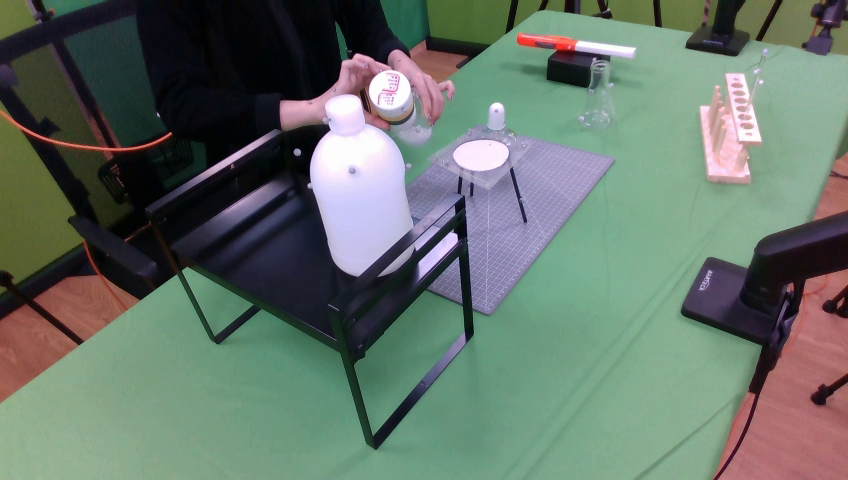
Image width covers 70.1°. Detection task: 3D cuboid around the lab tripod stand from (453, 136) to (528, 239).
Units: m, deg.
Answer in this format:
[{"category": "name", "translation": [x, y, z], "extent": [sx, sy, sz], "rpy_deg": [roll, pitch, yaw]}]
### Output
[{"category": "lab tripod stand", "translation": [0.095, -0.086, 0.974], "extent": [0.148, 0.132, 0.147], "rpy_deg": [-4, 43, 4]}]

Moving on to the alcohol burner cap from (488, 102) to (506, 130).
[{"category": "alcohol burner cap", "translation": [0.133, -0.227, 1.092], "extent": [0.034, 0.048, 0.033], "rpy_deg": [-1, 47, 2]}]

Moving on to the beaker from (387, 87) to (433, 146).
[{"category": "beaker", "translation": [-0.026, -0.212, 1.052], "extent": [0.073, 0.101, 0.084], "rpy_deg": [32, 89, 17]}]

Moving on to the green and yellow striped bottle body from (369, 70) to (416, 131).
[{"category": "green and yellow striped bottle body", "translation": [-0.046, -0.214, 0.954], "extent": [0.063, 0.120, 0.063], "rpy_deg": [-1, 80, 5]}]

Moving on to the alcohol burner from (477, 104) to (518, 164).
[{"category": "alcohol burner", "translation": [0.135, -0.200, 1.117], "extent": [0.078, 0.119, 0.077], "rpy_deg": [-4, 43, 4]}]

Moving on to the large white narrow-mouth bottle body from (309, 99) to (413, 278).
[{"category": "large white narrow-mouth bottle body", "translation": [-0.068, -0.057, 0.644], "extent": [0.102, 0.195, 0.101], "rpy_deg": [-3, 42, 4]}]

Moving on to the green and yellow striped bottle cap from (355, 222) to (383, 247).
[{"category": "green and yellow striped bottle cap", "translation": [-0.092, -0.009, 1.001], "extent": [0.045, 0.020, 0.045], "rpy_deg": [-3, 39, 3]}]

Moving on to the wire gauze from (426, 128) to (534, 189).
[{"category": "wire gauze", "translation": [0.086, -0.131, 0.924], "extent": [0.124, 0.011, 0.122], "rpy_deg": [26, 52, 33]}]

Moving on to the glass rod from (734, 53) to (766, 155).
[{"category": "glass rod", "translation": [0.540, -0.220, 1.007], "extent": [0.008, 0.201, 0.008], "rpy_deg": [-5, 45, 6]}]

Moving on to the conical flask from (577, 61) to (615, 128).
[{"category": "conical flask", "translation": [0.343, -0.288, 1.188], "extent": [0.075, 0.122, 0.075], "rpy_deg": [-4, 41, 4]}]

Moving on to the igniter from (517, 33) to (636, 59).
[{"category": "igniter", "translation": [0.336, -0.441, 1.369], "extent": [0.275, 0.025, 0.057], "rpy_deg": [16, 41, 23]}]

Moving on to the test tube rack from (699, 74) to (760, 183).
[{"category": "test tube rack", "translation": [0.547, -0.208, 1.095], "extent": [0.066, 0.085, 0.242], "rpy_deg": [6, 42, 16]}]

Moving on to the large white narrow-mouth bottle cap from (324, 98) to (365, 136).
[{"category": "large white narrow-mouth bottle cap", "translation": [-0.076, -0.120, 0.585], "extent": [0.038, 0.024, 0.037], "rpy_deg": [-3, 42, 3]}]
